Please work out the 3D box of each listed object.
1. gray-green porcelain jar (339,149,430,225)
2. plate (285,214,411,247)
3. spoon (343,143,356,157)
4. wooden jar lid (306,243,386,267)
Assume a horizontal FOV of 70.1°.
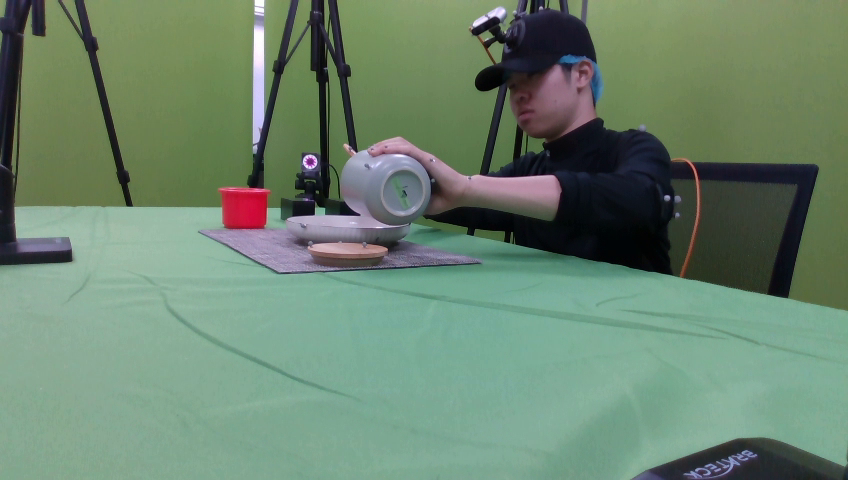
[{"bbox_3d":[-0.058,-0.080,0.902,0.106,0.106,0.126,-1,11,-27],"label":"gray-green porcelain jar"},{"bbox_3d":[-0.127,-0.015,1.012,0.208,0.039,0.207,3,7,0],"label":"plate"},{"bbox_3d":[-0.082,-0.111,0.956,0.042,0.021,0.192,7,23,-44],"label":"spoon"},{"bbox_3d":[-0.105,0.020,0.816,0.108,0.020,0.108,1,7,0],"label":"wooden jar lid"}]
